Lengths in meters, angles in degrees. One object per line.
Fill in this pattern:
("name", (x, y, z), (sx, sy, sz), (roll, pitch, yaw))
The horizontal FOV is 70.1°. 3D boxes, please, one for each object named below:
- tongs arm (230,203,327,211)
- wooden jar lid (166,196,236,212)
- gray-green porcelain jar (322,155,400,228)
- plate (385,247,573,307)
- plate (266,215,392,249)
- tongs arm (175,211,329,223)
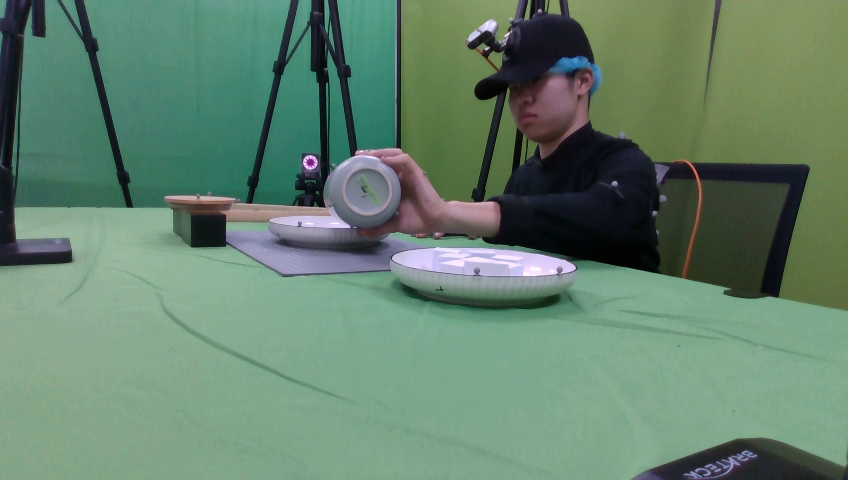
("tongs arm", (-0.362, -0.068, 1.406), (0.386, 0.026, 0.050), (2, 9, -14))
("wooden jar lid", (-0.369, -0.060, 1.001), (0.108, 0.020, 0.108), (3, 6, 0))
("gray-green porcelain jar", (-0.095, -0.070, 0.902), (0.106, 0.105, 0.126), (1, 2, -14))
("plate", (0.060, 0.041, 0.678), (0.208, 0.039, 0.207), (3, 7, 0))
("plate", (-0.159, -0.015, 1.019), (0.209, 0.038, 0.209), (3, 7, 0))
("tongs arm", (-0.337, -0.052, 1.329), (0.389, 0.028, 0.028), (-1, 6, -27))
